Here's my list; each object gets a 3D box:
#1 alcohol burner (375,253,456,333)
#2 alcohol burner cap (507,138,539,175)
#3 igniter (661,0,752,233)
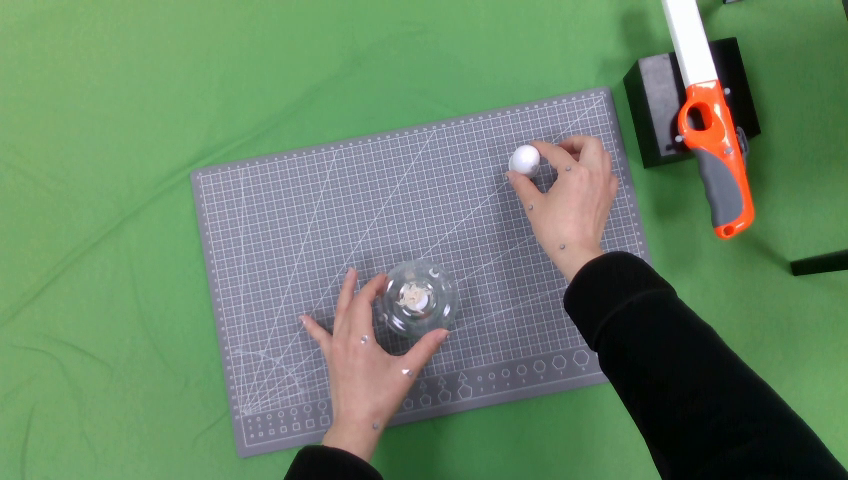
[{"bbox_3d":[-0.009,0.050,0.567,0.078,0.119,0.078,0,87,3],"label":"alcohol burner"},{"bbox_3d":[0.101,-0.087,0.612,0.034,0.048,0.034,0,86,5],"label":"alcohol burner cap"},{"bbox_3d":[0.264,-0.143,0.579,0.057,0.025,0.275,-11,83,2],"label":"igniter"}]
